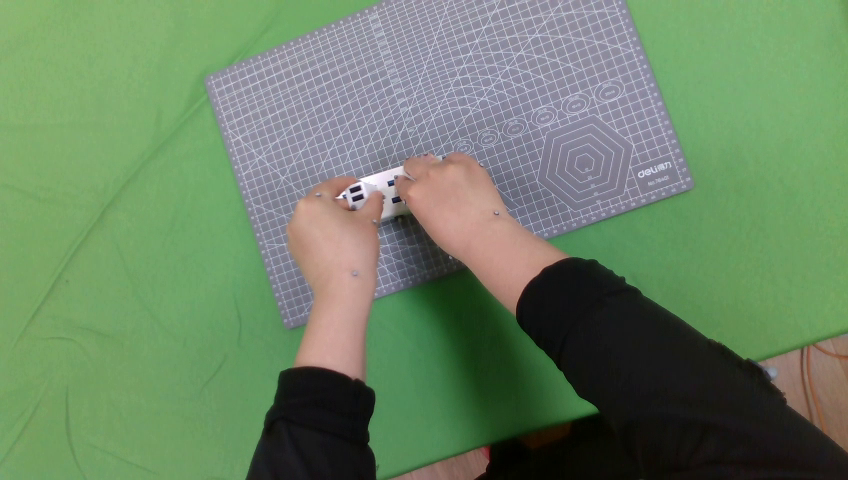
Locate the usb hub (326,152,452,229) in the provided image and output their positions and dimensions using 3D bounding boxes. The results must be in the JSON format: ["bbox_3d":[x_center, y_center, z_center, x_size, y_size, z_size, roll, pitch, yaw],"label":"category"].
[{"bbox_3d":[-0.037,-0.051,0.634,0.125,0.025,0.049,-15,86,9],"label":"usb hub"}]

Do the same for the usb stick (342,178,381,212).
[{"bbox_3d":[-0.059,-0.044,0.604,0.021,0.059,0.027,-20,82,12],"label":"usb stick"}]
